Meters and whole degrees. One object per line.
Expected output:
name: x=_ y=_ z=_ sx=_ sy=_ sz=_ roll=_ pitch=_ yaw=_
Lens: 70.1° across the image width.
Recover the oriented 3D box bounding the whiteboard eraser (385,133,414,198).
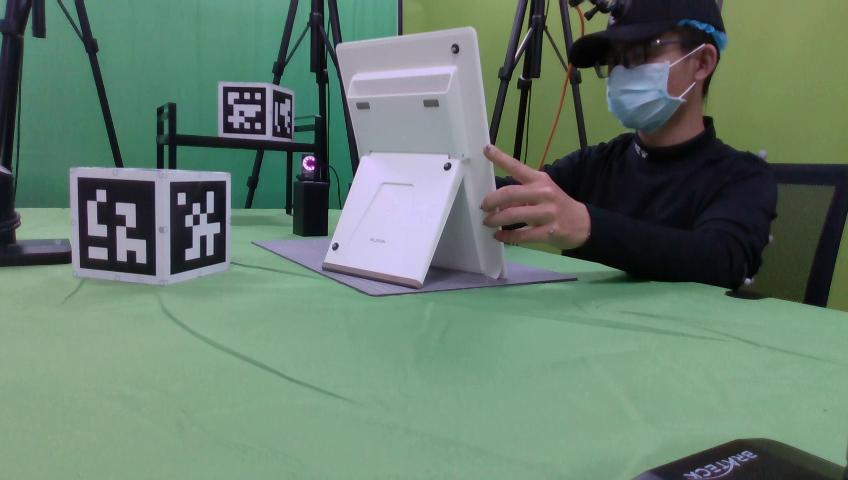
whiteboard eraser: x=-0.034 y=-0.103 z=0.844 sx=0.041 sy=0.101 sz=0.019 roll=30 pitch=49 yaw=25

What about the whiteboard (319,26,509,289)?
whiteboard: x=-0.046 y=-0.076 z=0.720 sx=0.216 sy=0.305 sz=0.144 roll=9 pitch=29 yaw=39
